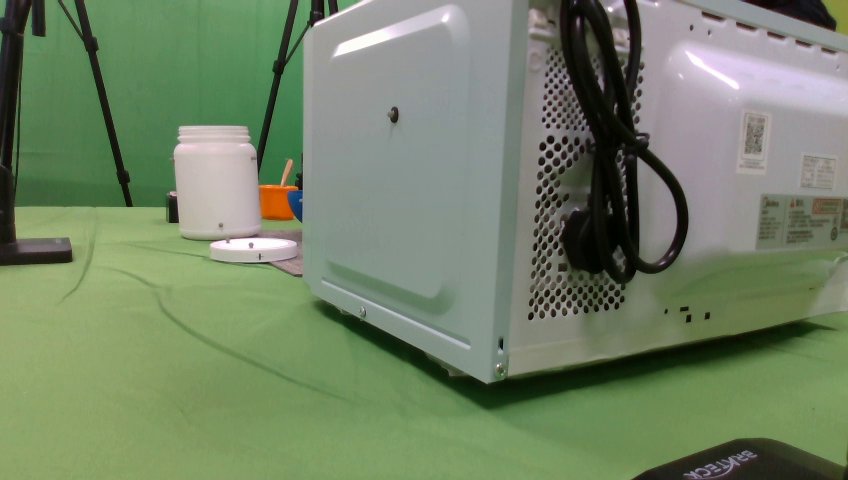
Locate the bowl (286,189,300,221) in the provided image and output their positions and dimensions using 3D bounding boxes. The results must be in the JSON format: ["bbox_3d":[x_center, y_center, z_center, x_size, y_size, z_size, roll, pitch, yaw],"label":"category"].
[{"bbox_3d":[-0.179,-0.051,1.115,0.151,0.077,0.151,3,8,0],"label":"bowl"}]

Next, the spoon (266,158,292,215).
[{"bbox_3d":[-0.334,-0.127,1.423,0.041,0.193,0.021,1,-37,6],"label":"spoon"}]

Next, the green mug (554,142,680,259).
[{"bbox_3d":[0.181,-0.037,0.584,0.124,0.105,0.093,4,5,44],"label":"green mug"}]

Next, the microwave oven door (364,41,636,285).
[{"bbox_3d":[0.105,-0.081,0.695,0.358,0.243,0.039,-2,8,-30],"label":"microwave oven door"}]

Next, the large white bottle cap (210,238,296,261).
[{"bbox_3d":[-0.236,0.013,0.839,0.115,0.018,0.115,1,7,0],"label":"large white bottle cap"}]

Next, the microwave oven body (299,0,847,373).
[{"bbox_3d":[0.152,-0.055,0.542,0.444,0.260,0.324,-2,7,-33],"label":"microwave oven body"}]

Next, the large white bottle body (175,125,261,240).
[{"bbox_3d":[-0.349,-0.100,1.024,0.131,0.184,0.130,-1,9,0],"label":"large white bottle body"}]

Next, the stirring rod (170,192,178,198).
[{"bbox_3d":[-0.465,-0.098,1.282,0.014,0.006,0.177,42,21,17],"label":"stirring rod"}]

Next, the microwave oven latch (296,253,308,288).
[{"bbox_3d":[-0.081,0.028,0.573,0.079,0.029,0.030,1,6,-15],"label":"microwave oven latch"}]
